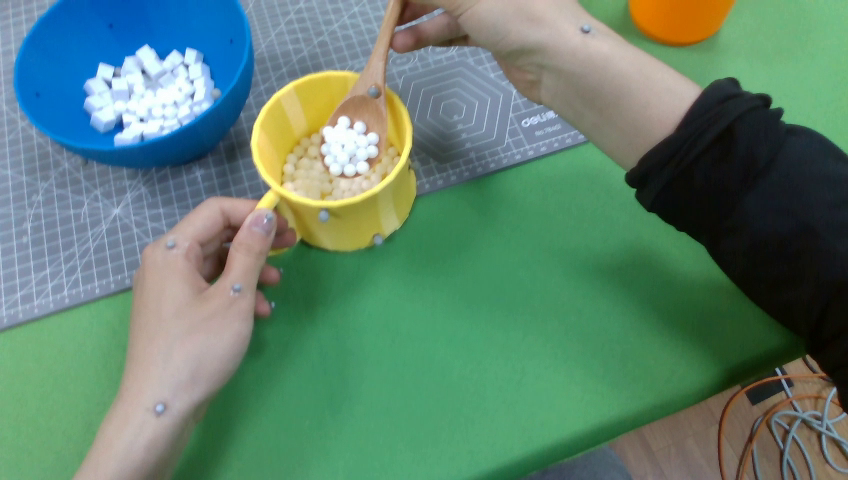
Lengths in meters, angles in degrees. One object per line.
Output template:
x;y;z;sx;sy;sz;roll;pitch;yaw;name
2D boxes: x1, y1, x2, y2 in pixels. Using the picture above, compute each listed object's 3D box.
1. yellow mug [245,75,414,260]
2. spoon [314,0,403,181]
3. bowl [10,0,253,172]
-0.067;-0.038;0.396;0.099;0.064;0.130;35;71;16;yellow mug
-0.022;-0.128;0.369;0.041;0.021;0.194;21;97;9;spoon
-0.186;-0.101;0.420;0.151;0.077;0.150;0;65;1;bowl
